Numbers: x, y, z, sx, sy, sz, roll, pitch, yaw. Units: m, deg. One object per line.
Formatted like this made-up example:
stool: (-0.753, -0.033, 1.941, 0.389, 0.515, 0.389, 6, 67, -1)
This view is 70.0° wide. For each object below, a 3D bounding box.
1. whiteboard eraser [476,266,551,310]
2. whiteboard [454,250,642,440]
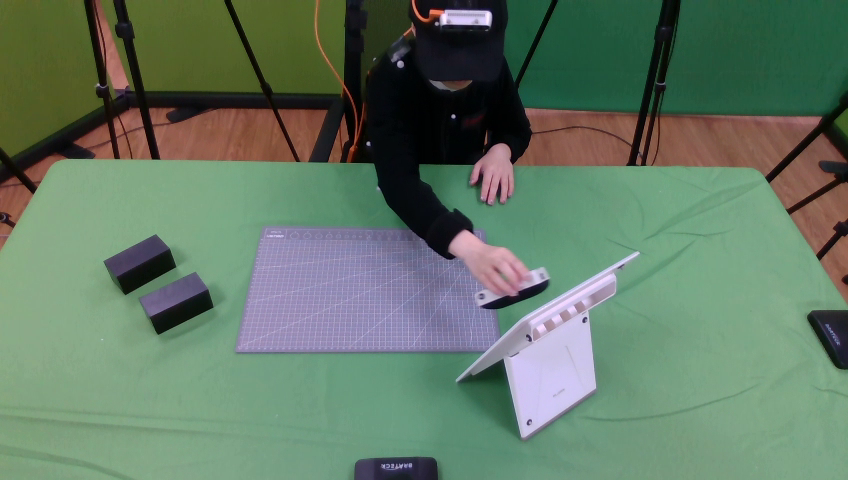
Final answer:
whiteboard eraser: (0.142, 0.079, 0.954, 0.055, 0.112, 0.042, -16, 82, -61)
whiteboard: (0.206, 0.175, 0.889, 0.217, 0.306, 0.143, -24, 72, -25)
